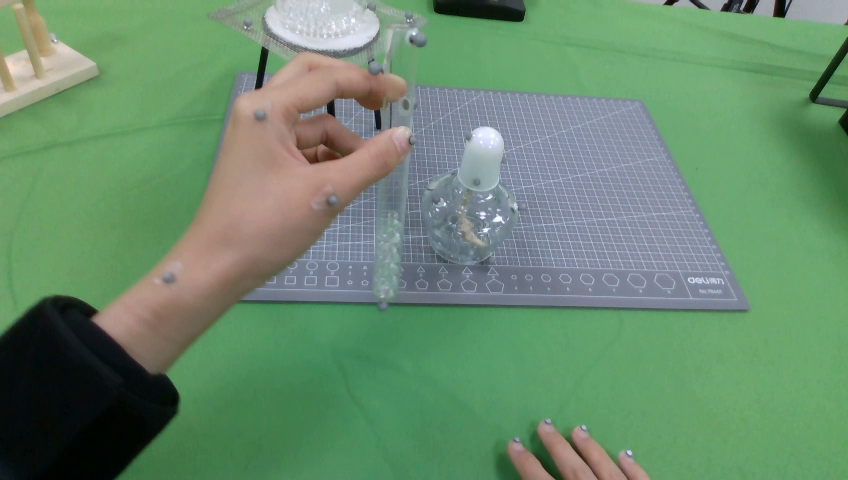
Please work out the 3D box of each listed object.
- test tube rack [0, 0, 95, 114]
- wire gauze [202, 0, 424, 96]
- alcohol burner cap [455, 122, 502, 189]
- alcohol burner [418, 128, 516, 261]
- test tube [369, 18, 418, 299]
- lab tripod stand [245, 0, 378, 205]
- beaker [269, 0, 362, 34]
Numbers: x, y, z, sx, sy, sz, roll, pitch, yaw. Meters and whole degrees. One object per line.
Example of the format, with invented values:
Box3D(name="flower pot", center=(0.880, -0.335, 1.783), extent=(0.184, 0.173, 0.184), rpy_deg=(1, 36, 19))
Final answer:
Box3D(name="test tube rack", center=(-0.416, -0.143, 0.508), extent=(0.066, 0.086, 0.242), rpy_deg=(31, 50, 18))
Box3D(name="wire gauze", center=(-0.081, -0.169, 0.463), extent=(0.124, 0.011, 0.121), rpy_deg=(34, 54, 15))
Box3D(name="alcohol burner cap", center=(0.041, -0.063, 0.441), extent=(0.034, 0.048, 0.033), rpy_deg=(3, 52, -3))
Box3D(name="alcohol burner", center=(0.036, -0.040, 0.468), extent=(0.078, 0.120, 0.077), rpy_deg=(6, 47, -6))
Box3D(name="test tube", center=(-0.017, -0.034, 0.311), extent=(0.017, 0.151, 0.017), rpy_deg=(5, 28, -2))
Box3D(name="lab tripod stand", center=(-0.087, -0.125, 0.511), extent=(0.149, 0.132, 0.147), rpy_deg=(6, 48, -6))
Box3D(name="beaker", center=(-0.079, -0.206, 0.430), extent=(0.073, 0.101, 0.084), rpy_deg=(39, 55, 23))
